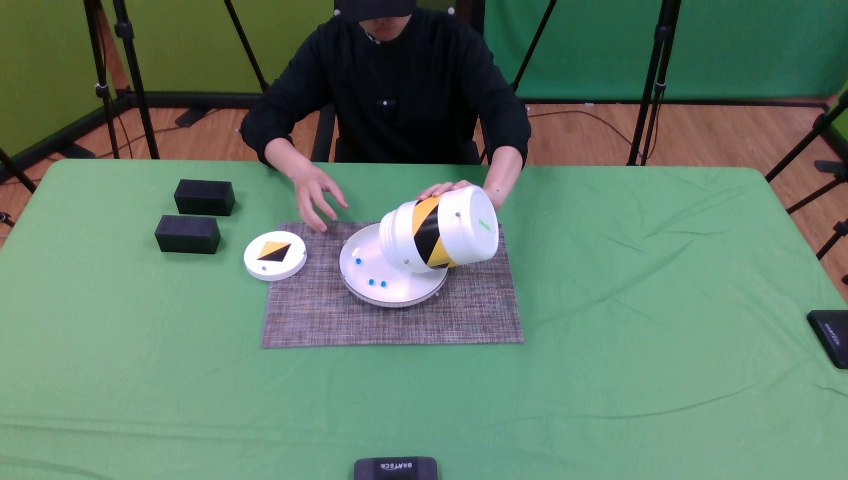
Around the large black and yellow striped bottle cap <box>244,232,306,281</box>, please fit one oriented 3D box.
[{"bbox_3d":[-0.282,0.030,1.145,0.115,0.019,0.114,-1,45,1],"label":"large black and yellow striped bottle cap"}]

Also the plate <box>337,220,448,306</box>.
[{"bbox_3d":[-0.057,0.045,1.133,0.208,0.039,0.206,2,46,-2],"label":"plate"}]

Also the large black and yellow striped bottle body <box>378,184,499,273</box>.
[{"bbox_3d":[0.024,-0.015,1.062,0.184,0.131,0.130,-13,39,28],"label":"large black and yellow striped bottle body"}]
